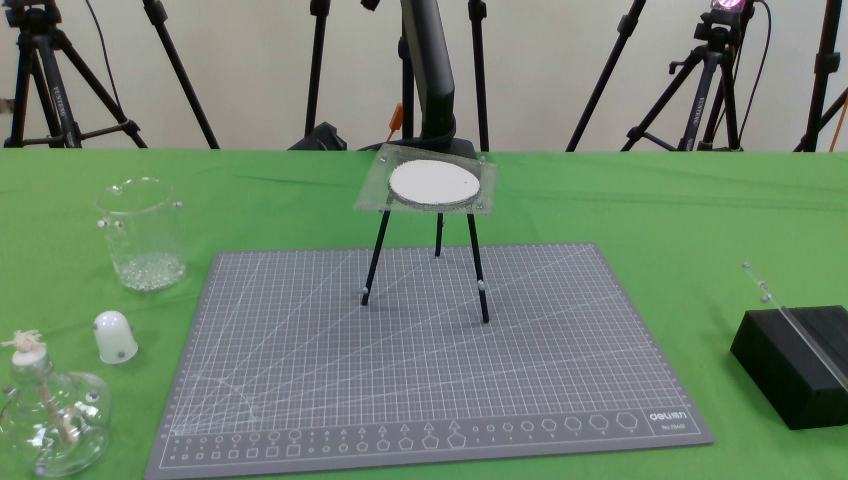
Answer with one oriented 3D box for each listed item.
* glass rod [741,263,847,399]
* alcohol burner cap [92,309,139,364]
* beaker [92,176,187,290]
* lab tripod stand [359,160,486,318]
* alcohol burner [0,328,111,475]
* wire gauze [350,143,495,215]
[{"bbox_3d":[0.335,0.081,0.544,0.008,0.008,0.197,0,34,-4],"label":"glass rod"},{"bbox_3d":[-0.279,0.084,0.543,0.034,0.048,0.033,2,34,-1],"label":"alcohol burner cap"},{"bbox_3d":[-0.291,-0.006,0.625,0.083,0.101,0.074,25,39,30],"label":"beaker"},{"bbox_3d":[0.008,-0.001,0.608,0.148,0.132,0.147,4,33,-2],"label":"lab tripod stand"},{"bbox_3d":[-0.273,0.112,0.436,0.078,0.120,0.077,1,34,0],"label":"alcohol burner"},{"bbox_3d":[0.005,-0.058,0.570,0.121,0.011,0.124,8,34,5],"label":"wire gauze"}]
